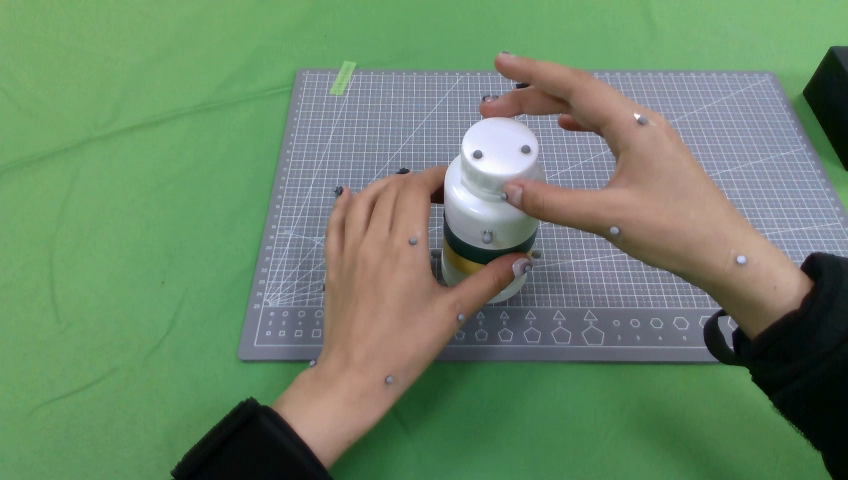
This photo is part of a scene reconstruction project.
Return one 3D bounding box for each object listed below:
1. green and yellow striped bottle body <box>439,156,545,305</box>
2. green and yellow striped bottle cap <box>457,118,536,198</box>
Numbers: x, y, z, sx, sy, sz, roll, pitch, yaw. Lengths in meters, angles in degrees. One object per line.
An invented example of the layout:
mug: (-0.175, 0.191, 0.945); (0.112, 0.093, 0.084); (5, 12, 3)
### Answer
green and yellow striped bottle body: (0.042, -0.013, 0.391); (0.063, 0.121, 0.062); (0, 54, 0)
green and yellow striped bottle cap: (0.041, -0.048, 0.345); (0.045, 0.020, 0.045); (0, 60, 0)
